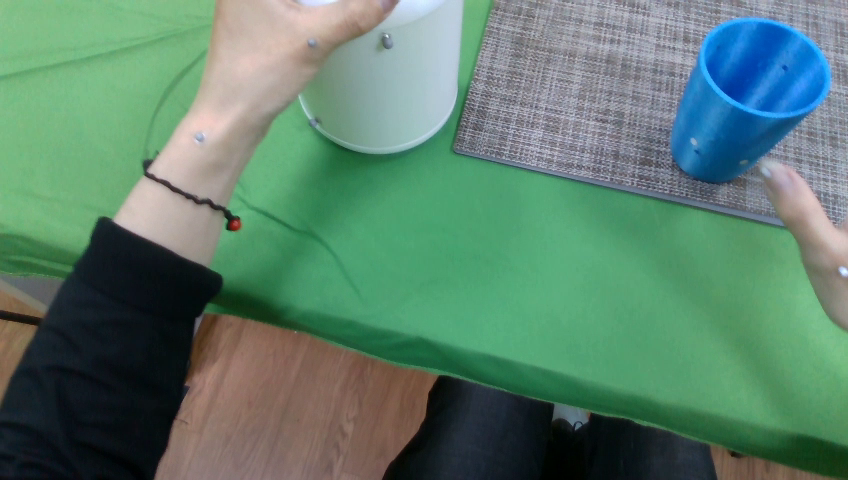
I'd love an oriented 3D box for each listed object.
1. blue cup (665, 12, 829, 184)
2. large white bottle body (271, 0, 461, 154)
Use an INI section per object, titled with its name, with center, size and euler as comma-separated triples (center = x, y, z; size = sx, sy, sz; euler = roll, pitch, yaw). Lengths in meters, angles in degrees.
[blue cup]
center = 0.223, -0.091, 0.442
size = 0.092, 0.101, 0.092
euler = 0, 64, 1
[large white bottle body]
center = -0.039, -0.162, 0.428
size = 0.130, 0.186, 0.129
euler = 0, 65, -1
